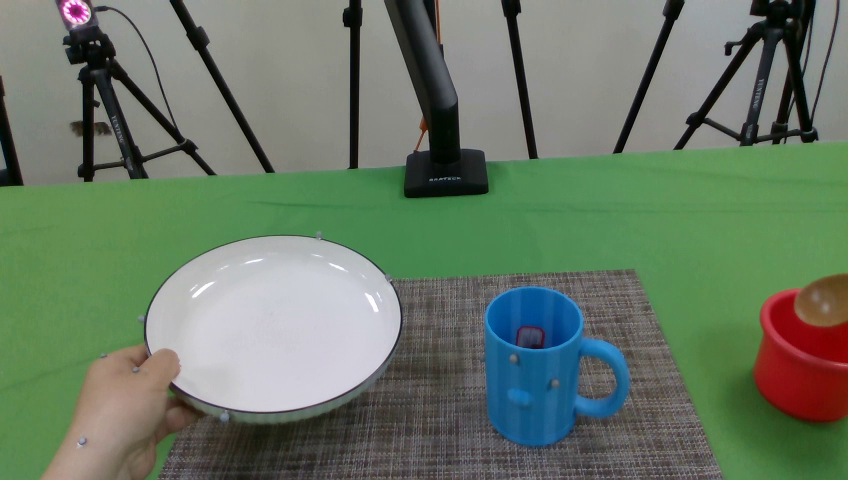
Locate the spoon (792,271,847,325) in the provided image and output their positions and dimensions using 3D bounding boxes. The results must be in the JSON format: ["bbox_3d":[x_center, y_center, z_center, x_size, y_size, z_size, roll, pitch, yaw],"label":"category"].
[{"bbox_3d":[0.331,0.016,0.399,0.022,0.194,0.041,18,62,-11],"label":"spoon"}]

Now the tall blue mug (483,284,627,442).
[{"bbox_3d":[0.103,0.100,0.498,0.107,0.109,0.077,-6,34,-2],"label":"tall blue mug"}]

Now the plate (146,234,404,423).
[{"bbox_3d":[-0.122,0.072,0.518,0.208,0.039,0.205,6,38,-4],"label":"plate"}]
